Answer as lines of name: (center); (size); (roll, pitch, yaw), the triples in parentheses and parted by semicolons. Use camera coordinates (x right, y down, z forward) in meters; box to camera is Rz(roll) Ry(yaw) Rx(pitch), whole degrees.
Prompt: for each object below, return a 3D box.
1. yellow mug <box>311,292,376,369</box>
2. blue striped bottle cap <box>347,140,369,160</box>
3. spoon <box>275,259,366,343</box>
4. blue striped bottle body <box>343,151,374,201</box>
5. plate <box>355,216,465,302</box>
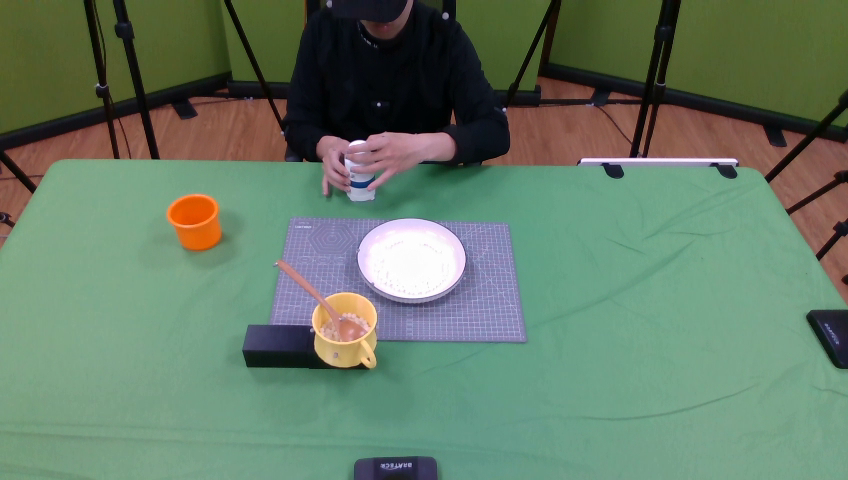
yellow mug: (-0.115, 0.150, 0.945); (0.100, 0.064, 0.130); (-29, 57, -28)
blue striped bottle cap: (-0.133, -0.181, 1.218); (0.044, 0.021, 0.044); (1, 49, -1)
spoon: (-0.161, 0.098, 0.946); (0.194, 0.021, 0.041); (48, 56, -5)
blue striped bottle body: (-0.135, -0.144, 1.257); (0.063, 0.121, 0.062); (3, 46, -3)
plate: (-0.027, 0.039, 1.144); (0.208, 0.039, 0.206); (2, 46, -2)
